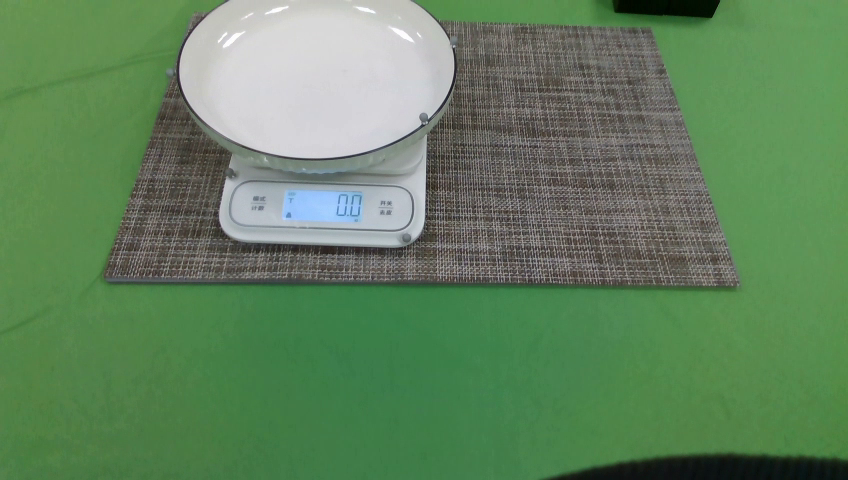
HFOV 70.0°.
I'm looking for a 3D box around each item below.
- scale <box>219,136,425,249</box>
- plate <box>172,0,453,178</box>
[{"bbox_3d":[-0.074,-0.083,0.482,0.149,0.032,0.199,2,55,-2],"label":"scale"},{"bbox_3d":[-0.082,-0.124,0.470,0.208,0.039,0.205,2,55,-3],"label":"plate"}]
